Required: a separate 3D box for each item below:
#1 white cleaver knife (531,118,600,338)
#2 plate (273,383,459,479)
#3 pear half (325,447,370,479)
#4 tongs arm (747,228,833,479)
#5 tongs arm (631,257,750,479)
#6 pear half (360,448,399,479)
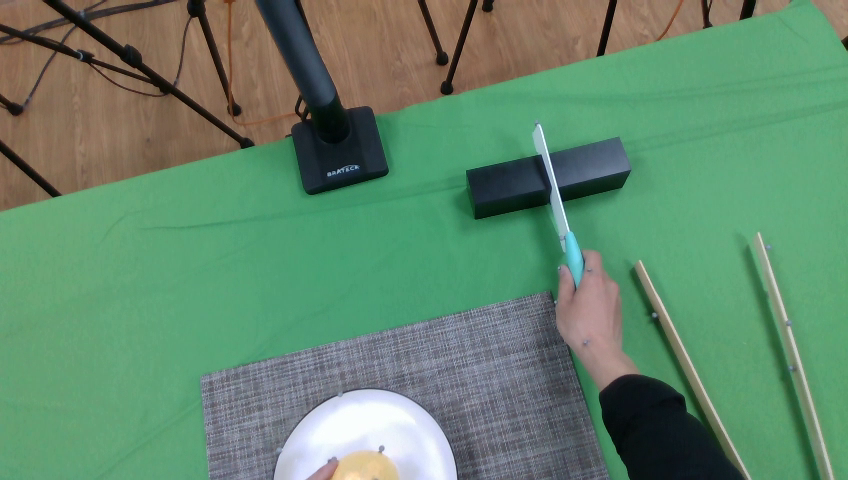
[{"bbox_3d":[0.175,-0.019,0.760,0.021,0.066,0.285,-13,78,6],"label":"white cleaver knife"},{"bbox_3d":[-0.063,0.268,0.682,0.207,0.039,0.206,-1,69,4],"label":"plate"},{"bbox_3d":[-0.080,0.258,0.639,0.056,0.111,0.075,-10,64,1],"label":"pear half"},{"bbox_3d":[0.411,0.170,0.692,0.051,0.027,0.382,-9,70,3],"label":"tongs arm"},{"bbox_3d":[0.333,0.190,0.696,0.028,0.028,0.384,-20,69,-5],"label":"tongs arm"},{"bbox_3d":[-0.044,0.256,0.647,0.031,0.088,0.070,-12,66,3],"label":"pear half"}]
